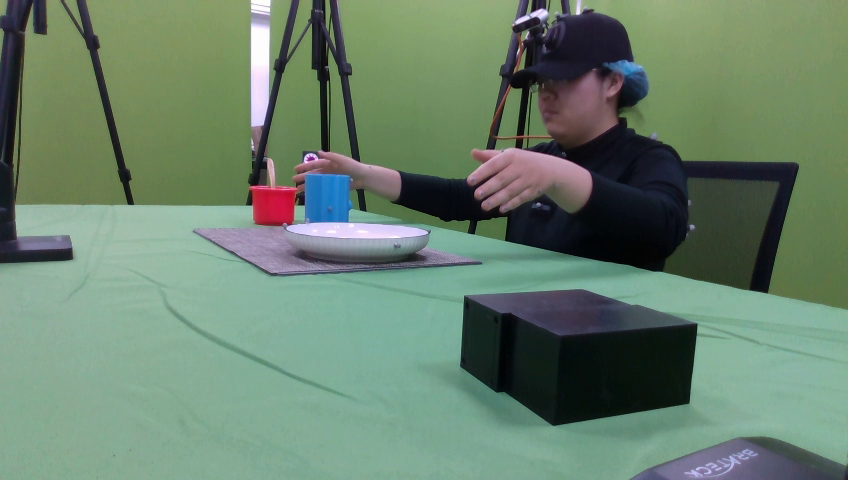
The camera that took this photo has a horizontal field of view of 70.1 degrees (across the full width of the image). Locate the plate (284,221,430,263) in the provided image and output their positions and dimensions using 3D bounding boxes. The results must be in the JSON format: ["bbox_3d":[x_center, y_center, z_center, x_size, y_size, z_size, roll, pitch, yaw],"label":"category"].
[{"bbox_3d":[-0.095,0.002,0.870,0.208,0.039,0.207,2,7,0],"label":"plate"}]

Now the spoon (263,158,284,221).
[{"bbox_3d":[-0.319,-0.110,1.274,0.042,0.021,0.193,3,51,-20],"label":"spoon"}]

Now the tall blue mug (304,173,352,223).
[{"bbox_3d":[-0.178,-0.063,1.062,0.078,0.108,0.106,-4,10,-38],"label":"tall blue mug"}]
